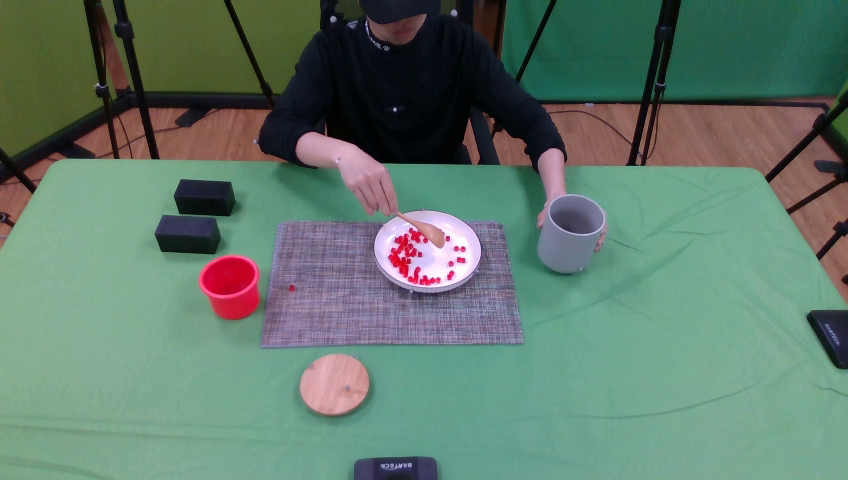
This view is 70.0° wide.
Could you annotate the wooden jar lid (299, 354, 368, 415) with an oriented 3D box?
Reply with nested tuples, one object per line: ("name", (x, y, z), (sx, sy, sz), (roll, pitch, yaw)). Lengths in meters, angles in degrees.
("wooden jar lid", (-0.143, 0.232, 0.964), (0.108, 0.021, 0.107), (2, 45, -2))

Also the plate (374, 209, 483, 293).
("plate", (0.008, 0.024, 1.158), (0.208, 0.039, 0.206), (2, 46, -2))

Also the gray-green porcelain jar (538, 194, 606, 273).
("gray-green porcelain jar", (0.274, -0.007, 1.142), (0.106, 0.127, 0.105), (1, 50, -2))

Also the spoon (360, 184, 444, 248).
("spoon", (-0.040, -0.045, 1.127), (0.194, 0.022, 0.041), (32, 32, -8))
